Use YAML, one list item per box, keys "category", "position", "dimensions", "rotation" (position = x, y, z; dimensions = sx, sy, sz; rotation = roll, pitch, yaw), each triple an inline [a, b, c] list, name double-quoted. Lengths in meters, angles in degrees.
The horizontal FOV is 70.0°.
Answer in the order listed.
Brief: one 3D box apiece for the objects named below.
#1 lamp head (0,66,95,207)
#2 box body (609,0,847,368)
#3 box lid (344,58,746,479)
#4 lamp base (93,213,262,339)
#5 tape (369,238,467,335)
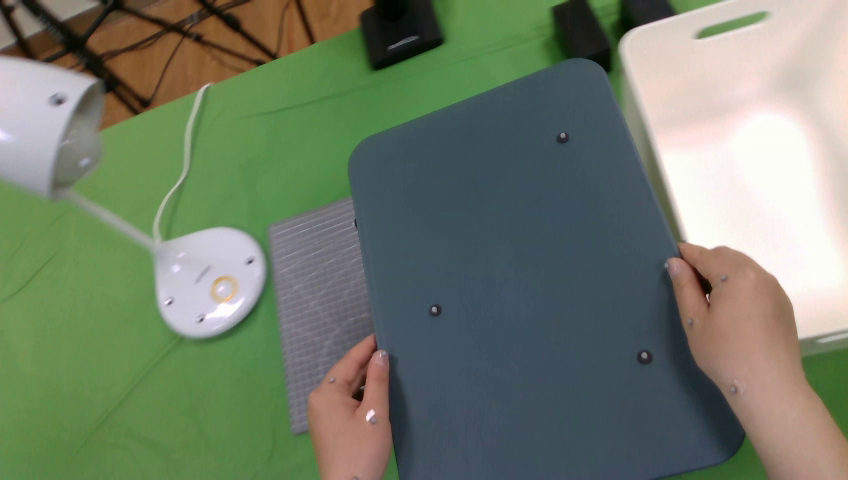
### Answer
- category: "lamp head"
  position: [-0.361, -0.096, 0.517]
  dimensions: [0.123, 0.112, 0.112]
  rotation: [16, 70, -14]
- category: "box body"
  position: [0.365, -0.068, 0.635]
  dimensions: [0.254, 0.162, 0.361]
  rotation: [-15, 65, 10]
- category: "box lid"
  position: [0.073, 0.024, 0.517]
  dimensions: [0.263, 0.015, 0.368]
  rotation: [-19, 65, 12]
- category: "lamp base"
  position: [-0.332, 0.029, 0.788]
  dimensions: [0.178, 0.182, 0.160]
  rotation: [18, 74, 25]
- category: "tape"
  position: [-0.009, 0.057, 0.751]
  dimensions: [0.116, 0.053, 0.116]
  rotation: [-6, 66, 13]
